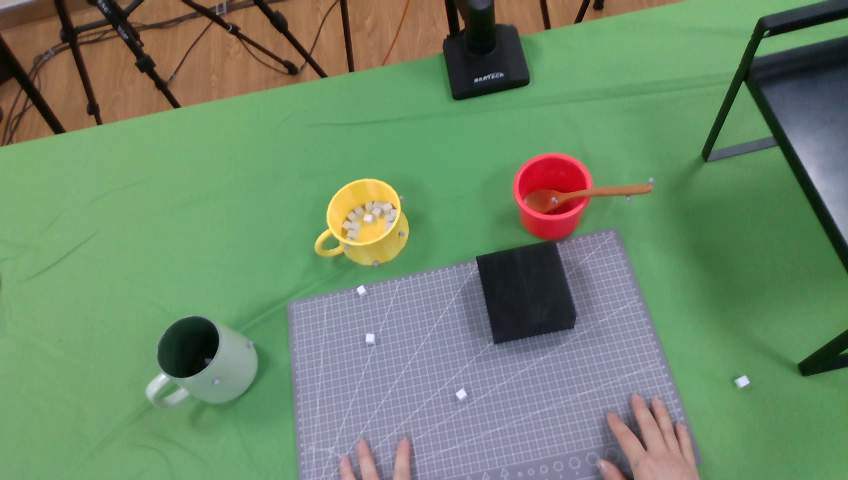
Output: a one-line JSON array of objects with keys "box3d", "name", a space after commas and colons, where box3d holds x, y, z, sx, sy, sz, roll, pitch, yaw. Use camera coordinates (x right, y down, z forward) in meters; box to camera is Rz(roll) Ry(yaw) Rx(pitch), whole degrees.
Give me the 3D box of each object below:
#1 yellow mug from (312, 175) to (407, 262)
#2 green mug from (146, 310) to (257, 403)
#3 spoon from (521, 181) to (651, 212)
[{"box3d": [-0.091, -0.021, 0.814, 0.131, 0.064, 0.099, -30, 64, -6], "name": "yellow mug"}, {"box3d": [-0.276, 0.150, 0.738, 0.125, 0.106, 0.092, -42, 66, -12], "name": "green mug"}, {"box3d": [0.192, -0.058, 0.744, 0.192, 0.022, 0.041, -3, 57, 58], "name": "spoon"}]
